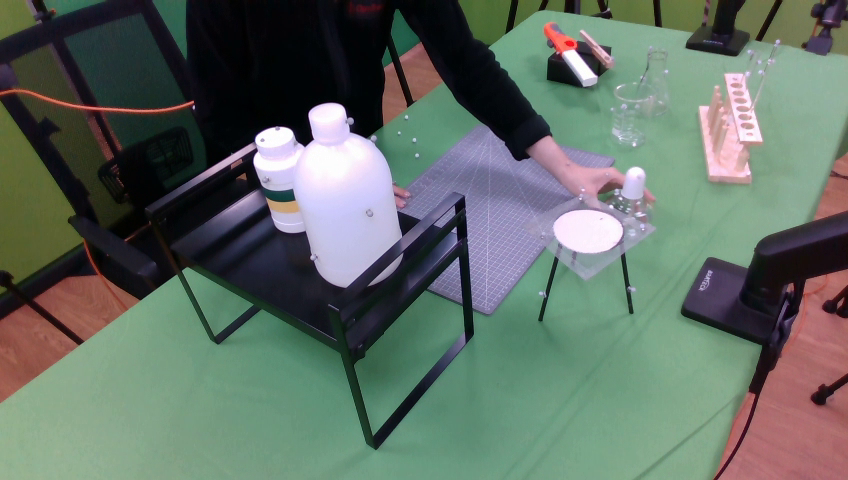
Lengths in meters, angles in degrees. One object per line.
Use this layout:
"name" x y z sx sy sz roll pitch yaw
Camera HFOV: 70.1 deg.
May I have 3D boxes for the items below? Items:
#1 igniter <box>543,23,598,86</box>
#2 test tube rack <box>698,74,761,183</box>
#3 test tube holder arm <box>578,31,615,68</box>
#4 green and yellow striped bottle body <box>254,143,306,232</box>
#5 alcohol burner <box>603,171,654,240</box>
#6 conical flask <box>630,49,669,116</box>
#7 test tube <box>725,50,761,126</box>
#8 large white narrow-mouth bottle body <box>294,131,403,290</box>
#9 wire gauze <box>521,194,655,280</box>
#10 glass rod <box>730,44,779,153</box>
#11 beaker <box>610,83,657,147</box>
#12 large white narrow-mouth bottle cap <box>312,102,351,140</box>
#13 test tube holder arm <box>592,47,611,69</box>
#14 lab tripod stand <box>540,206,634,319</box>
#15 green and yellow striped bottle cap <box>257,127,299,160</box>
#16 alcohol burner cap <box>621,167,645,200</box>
"igniter" 0.320 -0.419 1.345 0.057 0.025 0.274 -12 44 -3
"test tube rack" 0.547 -0.208 1.095 0.066 0.085 0.242 5 42 15
"test tube holder arm" 0.383 -0.428 1.351 0.013 0.015 0.177 -12 41 -3
"green and yellow striped bottle body" -0.165 -0.073 0.732 0.063 0.120 0.063 -4 41 4
"alcohol burner" 0.317 -0.060 0.931 0.078 0.119 0.077 -2 42 3
"conical flask" 0.457 -0.316 1.205 0.075 0.122 0.075 -4 41 4
"test tube" 0.570 -0.269 1.085 0.017 0.151 0.017 -1 46 1
"large white narrow-mouth bottle body" -0.082 -0.046 0.634 0.102 0.195 0.101 -4 39 4
"wire gauze" 0.207 -0.012 0.772 0.122 0.011 0.124 -28 44 -20
"glass rod" 0.555 -0.233 1.020 0.008 0.200 0.008 2 40 -1
"beaker" 0.388 -0.234 1.137 0.074 0.101 0.083 -31 45 -26
"large white narrow-mouth bottle cap" -0.089 -0.114 0.579 0.038 0.024 0.037 -3 39 3
"test tube holder arm" 0.386 -0.398 1.317 0.010 0.015 0.087 -11 41 -2
"lab tripod stand" 0.218 0.034 0.821 0.148 0.132 0.147 -4 42 4
"green and yellow striped bottle cap" -0.169 -0.112 0.699 0.045 0.020 0.045 -5 40 5
"alcohol burner cap" 0.316 -0.088 0.907 0.034 0.048 0.033 -2 42 3
